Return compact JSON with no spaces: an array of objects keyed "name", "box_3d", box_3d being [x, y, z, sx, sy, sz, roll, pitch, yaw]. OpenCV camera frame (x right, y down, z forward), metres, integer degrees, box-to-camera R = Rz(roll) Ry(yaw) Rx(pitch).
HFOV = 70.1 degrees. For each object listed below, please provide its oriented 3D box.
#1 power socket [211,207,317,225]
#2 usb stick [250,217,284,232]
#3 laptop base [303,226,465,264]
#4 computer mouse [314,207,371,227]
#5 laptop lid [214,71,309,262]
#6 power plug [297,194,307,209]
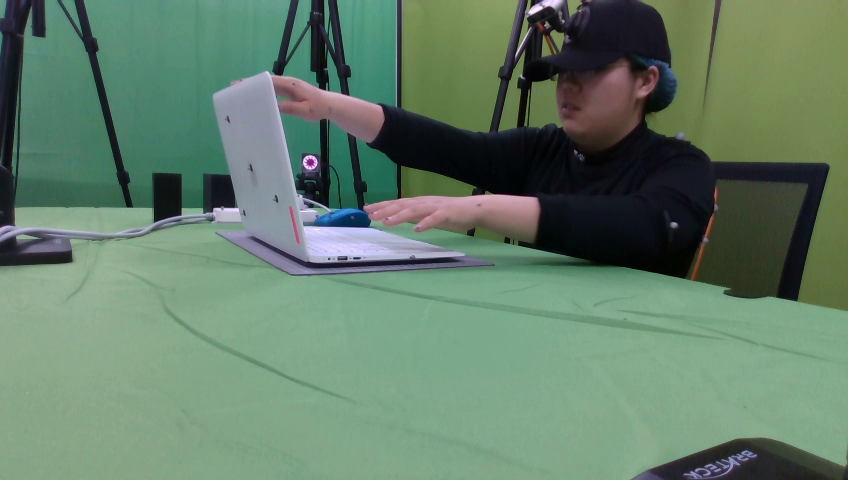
[{"name":"power socket","box_3d":[-0.334,-0.051,1.282,0.228,0.032,0.072,-1,9,-28]},{"name":"usb stick","box_3d":[-0.291,-0.029,1.119,0.059,0.027,0.021,-2,10,-29]},{"name":"laptop base","box_3d":[-0.124,0.006,0.955,0.237,0.023,0.352,2,6,-30]},{"name":"computer mouse","box_3d":[-0.175,-0.047,1.292,0.118,0.041,0.062,-7,13,-34]},{"name":"laptop lid","box_3d":[-0.245,-0.105,0.870,0.013,0.241,0.355,-16,16,-27]},{"name":"power plug","box_3d":[-0.281,-0.076,1.340,0.035,0.052,0.072,3,6,-18]}]
